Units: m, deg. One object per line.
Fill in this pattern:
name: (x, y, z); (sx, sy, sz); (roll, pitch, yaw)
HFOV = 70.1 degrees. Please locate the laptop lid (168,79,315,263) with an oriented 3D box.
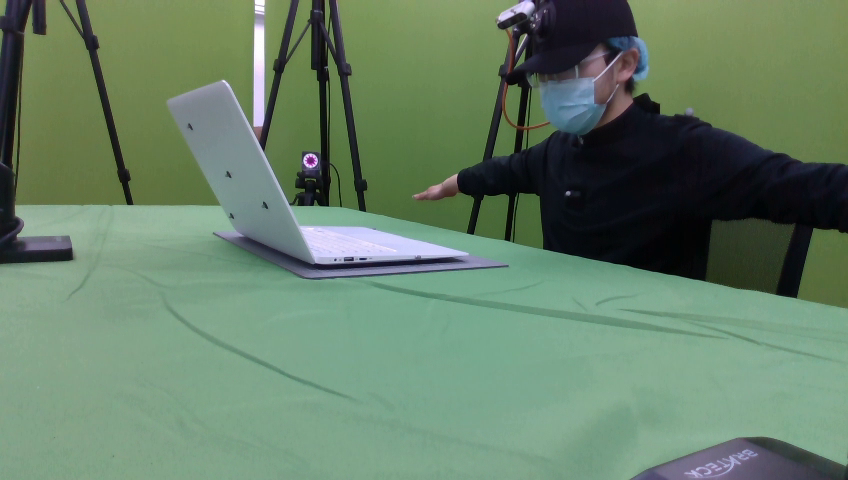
laptop lid: (-0.264, -0.093, 0.831); (0.013, 0.242, 0.355); (-33, 25, -25)

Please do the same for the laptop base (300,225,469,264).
laptop base: (-0.124, 0.005, 0.936); (0.237, 0.023, 0.352); (2, 6, -33)
